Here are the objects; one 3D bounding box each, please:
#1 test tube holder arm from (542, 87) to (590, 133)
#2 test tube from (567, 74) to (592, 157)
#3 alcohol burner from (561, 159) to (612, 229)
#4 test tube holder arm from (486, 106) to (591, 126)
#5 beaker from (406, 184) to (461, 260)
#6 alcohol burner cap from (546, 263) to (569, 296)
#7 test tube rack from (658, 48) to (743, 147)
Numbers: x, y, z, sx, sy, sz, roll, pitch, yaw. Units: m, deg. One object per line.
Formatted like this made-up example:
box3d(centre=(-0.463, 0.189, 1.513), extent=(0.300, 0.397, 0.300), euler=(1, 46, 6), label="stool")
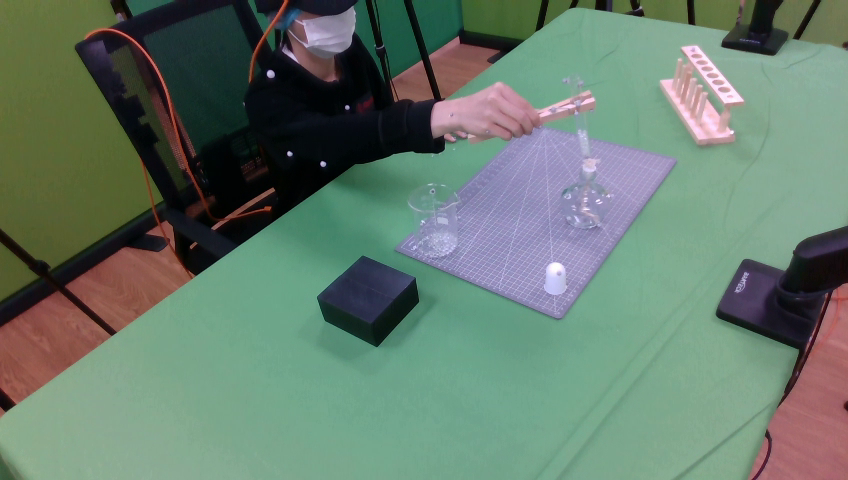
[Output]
box3d(centre=(0.193, -0.177, 0.824), extent=(0.088, 0.010, 0.015), euler=(-43, 38, -12), label="test tube holder arm")
box3d(centre=(0.221, -0.172, 0.855), extent=(0.017, 0.151, 0.017), euler=(-12, 50, 15), label="test tube")
box3d(centre=(0.257, -0.077, 0.951), extent=(0.078, 0.119, 0.077), euler=(-3, 40, 3), label="alcohol burner")
box3d(centre=(0.155, -0.166, 0.803), extent=(0.179, 0.013, 0.015), euler=(-12, 29, -31), label="test tube holder arm")
box3d(centre=(0.019, -0.026, 0.939), extent=(0.084, 0.101, 0.074), euler=(1, 41, 10), label="beaker")
box3d(centre=(0.191, 0.053, 0.862), extent=(0.034, 0.048, 0.033), euler=(-5, 40, 4), label="alcohol burner cap")
box3d(centre=(0.532, -0.284, 1.181), extent=(0.067, 0.085, 0.241), euler=(-5, 40, 4), label="test tube rack")
